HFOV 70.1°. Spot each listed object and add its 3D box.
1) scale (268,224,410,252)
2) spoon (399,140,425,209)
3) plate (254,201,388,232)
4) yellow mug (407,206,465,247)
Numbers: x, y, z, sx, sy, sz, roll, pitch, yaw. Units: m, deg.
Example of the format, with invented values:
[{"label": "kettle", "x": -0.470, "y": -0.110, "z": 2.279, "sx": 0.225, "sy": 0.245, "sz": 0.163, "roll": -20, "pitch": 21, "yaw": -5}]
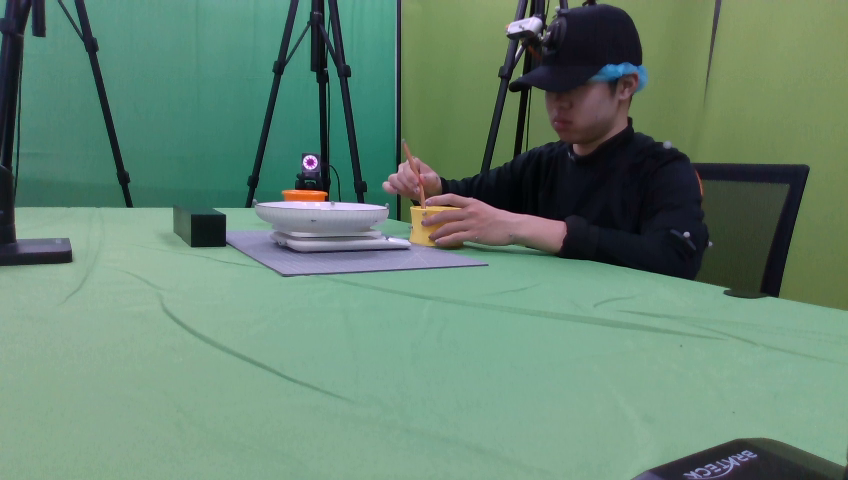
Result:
[{"label": "scale", "x": -0.137, "y": -0.006, "z": 0.979, "sx": 0.202, "sy": 0.031, "sz": 0.148, "roll": -1, "pitch": 8, "yaw": -30}, {"label": "spoon", "x": -0.010, "y": -0.089, "z": 1.094, "sx": 0.021, "sy": 0.193, "sz": 0.041, "roll": -15, "pitch": -1, "yaw": 9}, {"label": "plate", "x": -0.161, "y": -0.037, "z": 0.961, "sx": 0.209, "sy": 0.038, "sz": 0.209, "roll": 2, "pitch": 6, "yaw": 0}, {"label": "yellow mug", "x": 0.027, "y": -0.027, "z": 1.104, "sx": 0.099, "sy": 0.064, "sz": 0.131, "roll": 7, "pitch": 7, "yaw": 20}]
